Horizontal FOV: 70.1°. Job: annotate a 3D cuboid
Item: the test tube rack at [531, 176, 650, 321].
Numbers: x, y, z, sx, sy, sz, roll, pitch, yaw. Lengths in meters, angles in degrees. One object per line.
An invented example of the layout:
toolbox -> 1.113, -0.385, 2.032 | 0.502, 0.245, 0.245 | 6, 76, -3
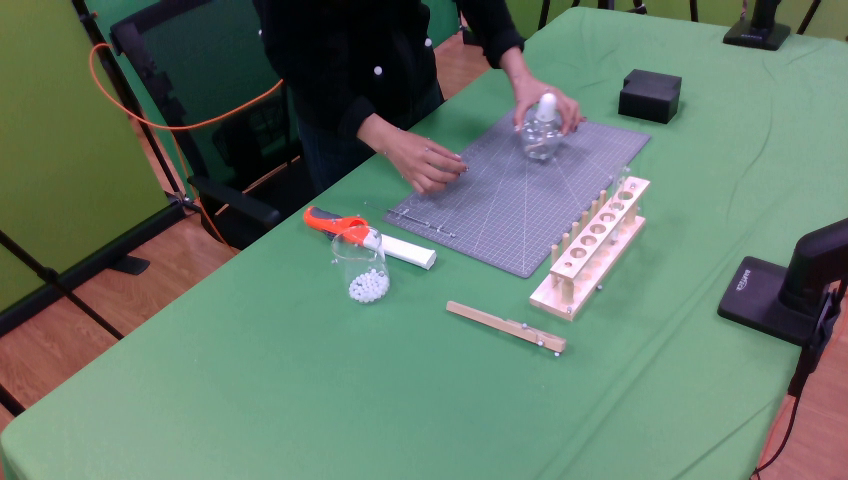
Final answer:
test tube rack -> 0.246, 0.002, 0.884 | 0.066, 0.085, 0.243 | 22, 49, 32

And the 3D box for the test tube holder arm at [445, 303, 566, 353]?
test tube holder arm -> 0.107, 0.117, 0.823 | 0.177, 0.015, 0.013 | 16, 11, 27

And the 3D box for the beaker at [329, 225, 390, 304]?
beaker -> -0.089, 0.040, 0.890 | 0.074, 0.101, 0.083 | -32, 45, -24

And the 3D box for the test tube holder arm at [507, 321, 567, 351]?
test tube holder arm -> 0.148, 0.128, 0.808 | 0.087, 0.015, 0.010 | 16, 11, 28

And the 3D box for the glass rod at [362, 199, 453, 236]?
glass rod -> -0.032, -0.041, 1.041 | 0.198, 0.008, 0.008 | 22, 50, 31

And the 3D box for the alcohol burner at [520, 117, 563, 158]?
alcohol burner -> 0.212, -0.207, 1.080 | 0.078, 0.119, 0.077 | 2, 42, -2

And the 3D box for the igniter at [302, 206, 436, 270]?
igniter -> -0.101, -0.007, 1.004 | 0.274, 0.025, 0.057 | 19, 58, 29

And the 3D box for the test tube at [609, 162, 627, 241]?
test tube -> 0.277, -0.051, 0.864 | 0.017, 0.151, 0.017 | -6, 47, 7

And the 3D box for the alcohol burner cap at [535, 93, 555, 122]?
alcohol burner cap -> 0.213, -0.233, 1.055 | 0.034, 0.048, 0.033 | 0, 50, 1
